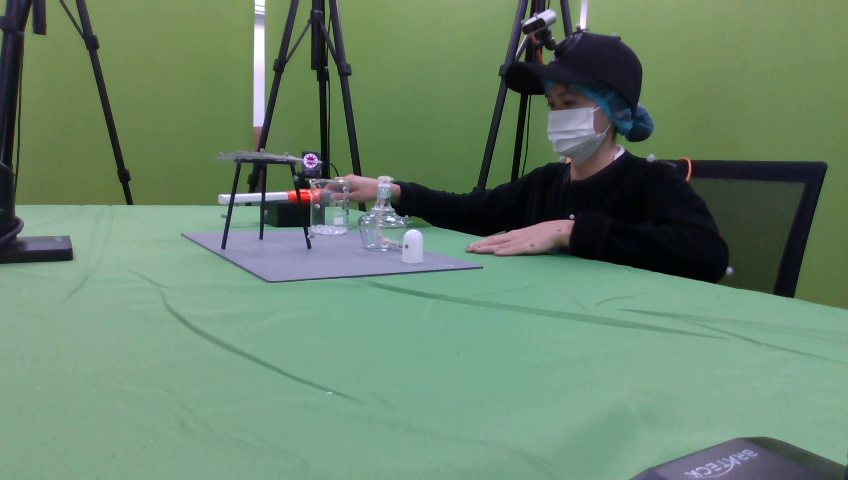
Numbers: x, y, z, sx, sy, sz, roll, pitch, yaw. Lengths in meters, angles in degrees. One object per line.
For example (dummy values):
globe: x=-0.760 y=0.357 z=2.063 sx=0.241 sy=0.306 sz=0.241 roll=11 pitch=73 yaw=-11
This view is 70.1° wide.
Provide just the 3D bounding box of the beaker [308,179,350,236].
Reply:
beaker: x=-0.176 y=-0.060 z=1.104 sx=0.073 sy=0.100 sz=0.084 roll=8 pitch=10 yaw=39

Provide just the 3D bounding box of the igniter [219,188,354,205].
igniter: x=-0.274 y=-0.090 z=1.238 sx=0.278 sy=0.025 sz=0.057 roll=-6 pitch=12 yaw=-32

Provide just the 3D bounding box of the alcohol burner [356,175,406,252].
alcohol burner: x=-0.066 y=-0.041 z=0.940 sx=0.078 sy=0.119 sz=0.078 roll=4 pitch=6 yaw=0

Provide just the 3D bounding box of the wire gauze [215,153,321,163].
wire gauze: x=-0.235 y=-0.123 z=0.906 sx=0.126 sy=0.011 sz=0.121 roll=-2 pitch=7 yaw=-33

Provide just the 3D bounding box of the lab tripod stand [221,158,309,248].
lab tripod stand: x=-0.244 y=-0.057 z=0.917 sx=0.148 sy=0.131 sz=0.148 roll=1 pitch=7 yaw=0

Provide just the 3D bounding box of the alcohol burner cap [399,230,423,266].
alcohol burner cap: x=-0.017 y=0.010 z=0.837 sx=0.034 sy=0.048 sz=0.034 roll=3 pitch=7 yaw=0
